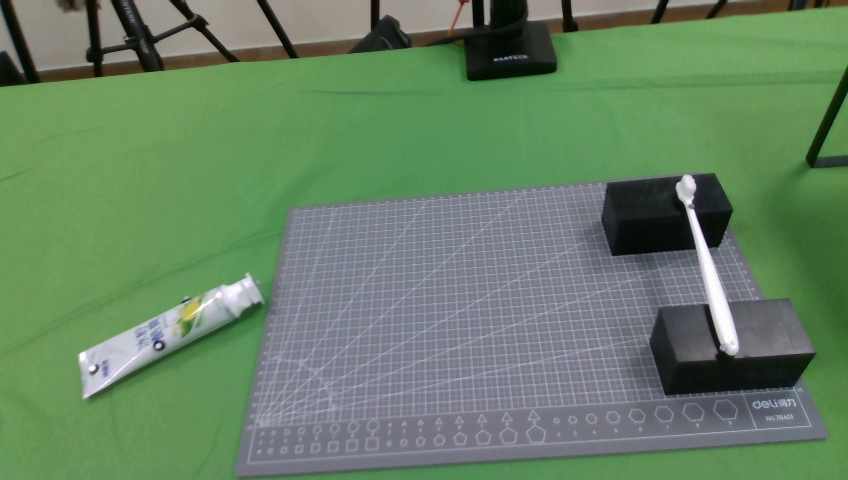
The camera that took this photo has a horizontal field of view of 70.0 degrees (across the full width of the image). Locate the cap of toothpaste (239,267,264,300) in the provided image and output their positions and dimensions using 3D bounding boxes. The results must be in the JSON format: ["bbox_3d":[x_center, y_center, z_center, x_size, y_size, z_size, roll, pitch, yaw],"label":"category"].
[{"bbox_3d":[-0.165,0.043,0.574,0.011,0.038,0.037,-31,51,-19],"label":"cap of toothpaste"}]

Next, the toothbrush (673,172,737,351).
[{"bbox_3d":[0.229,0.010,0.496,0.014,0.017,0.180,9,50,-4],"label":"toothbrush"}]

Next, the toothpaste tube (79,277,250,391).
[{"bbox_3d":[-0.236,0.078,0.560,0.165,0.035,0.054,-27,44,-11],"label":"toothpaste tube"}]
